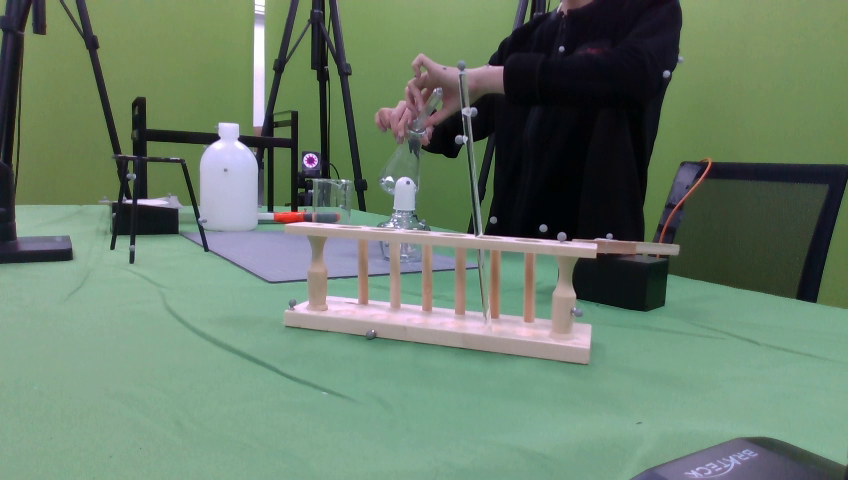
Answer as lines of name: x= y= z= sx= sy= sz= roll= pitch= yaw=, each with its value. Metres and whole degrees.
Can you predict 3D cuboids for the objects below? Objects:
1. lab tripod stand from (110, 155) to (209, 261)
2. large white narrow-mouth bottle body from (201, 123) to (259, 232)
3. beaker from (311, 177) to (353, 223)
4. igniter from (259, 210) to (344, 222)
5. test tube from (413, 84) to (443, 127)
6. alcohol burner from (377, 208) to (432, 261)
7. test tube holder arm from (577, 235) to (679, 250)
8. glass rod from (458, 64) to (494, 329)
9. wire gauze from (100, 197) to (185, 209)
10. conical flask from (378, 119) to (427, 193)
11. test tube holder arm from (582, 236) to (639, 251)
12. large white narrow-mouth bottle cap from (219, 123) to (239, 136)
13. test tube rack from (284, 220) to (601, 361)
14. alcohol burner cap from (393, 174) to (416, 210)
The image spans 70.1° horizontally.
lab tripod stand: x=-0.361 y=-0.046 z=0.806 sx=0.148 sy=0.131 sz=0.148 roll=2 pitch=5 yaw=0
large white narrow-mouth bottle body: x=-0.358 y=-0.116 z=1.116 sx=0.102 sy=0.194 sz=0.102 roll=2 pitch=8 yaw=0
beaker: x=-0.167 y=-0.064 z=1.106 sx=0.074 sy=0.100 sz=0.083 roll=-2 pitch=9 yaw=-27
igniter: x=-0.303 y=-0.049 z=1.258 sx=0.278 sy=0.025 sz=0.057 roll=-2 pitch=-2 yaw=-28
test tube: x=0.004 y=-0.198 z=0.898 sx=0.017 sy=0.017 sz=0.150 roll=0 pitch=-8 yaw=-12
alcohol burner: x=-0.027 y=-0.031 z=0.838 sx=0.078 sy=0.119 sz=0.078 roll=0 pitch=6 yaw=0
test tube holder arm: x=0.227 y=0.004 z=0.661 sx=0.179 sy=0.015 sz=0.013 roll=1 pitch=13 yaw=-38
glass rod: x=0.039 y=-0.029 z=0.449 sx=0.008 sy=0.199 sz=0.008 roll=-7 pitch=9 yaw=1
wire gauze: x=-0.469 y=-0.062 z=1.008 sx=0.126 sy=0.011 sz=0.121 roll=-2 pitch=8 yaw=-25
conical flask: x=-0.028 y=-0.142 z=1.013 sx=0.075 sy=0.122 sz=0.075 roll=13 pitch=40 yaw=-10
test tube holder arm: x=0.194 y=0.004 z=0.629 sx=0.088 sy=0.015 sz=0.010 roll=1 pitch=13 yaw=-38
large white narrow-mouth bottle cap: x=-0.356 y=-0.201 z=1.104 sx=0.038 sy=0.024 sz=0.037 roll=2 pitch=8 yaw=0
test tube rack: x=0.013 y=0.032 z=0.482 sx=0.242 sy=0.085 sz=0.067 roll=4 pitch=7 yaw=16
alcohol burner cap: x=-0.025 y=-0.067 z=0.833 sx=0.034 sy=0.048 sz=0.034 roll=4 pitch=12 yaw=-1
